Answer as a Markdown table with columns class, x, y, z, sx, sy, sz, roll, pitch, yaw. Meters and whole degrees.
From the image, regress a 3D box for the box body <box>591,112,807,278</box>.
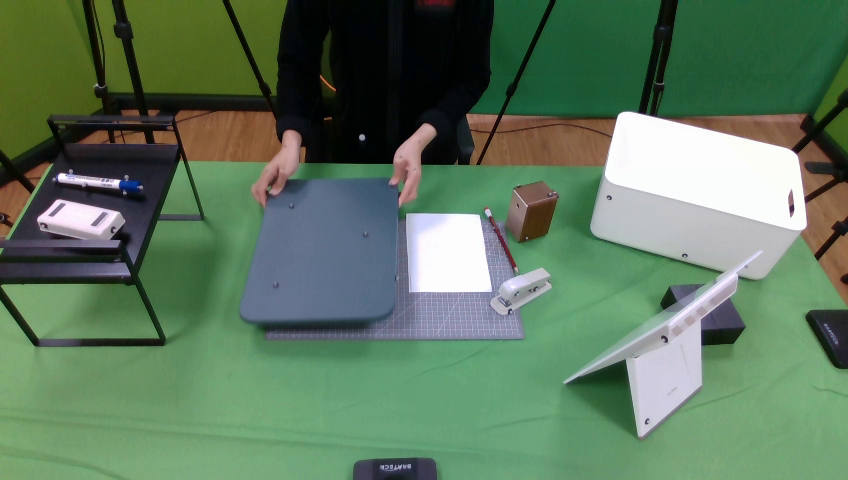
| class | x | y | z | sx | sy | sz | roll | pitch | yaw |
| --- | --- | --- | --- | --- | --- | --- | --- | --- | --- |
| box body | 0.540 | -0.092 | 1.230 | 0.363 | 0.161 | 0.253 | 16 | 47 | 11 |

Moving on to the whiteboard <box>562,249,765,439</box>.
| class | x | y | z | sx | sy | sz | roll | pitch | yaw |
| --- | --- | --- | --- | --- | --- | --- | --- | --- | --- |
| whiteboard | 0.386 | 0.176 | 0.905 | 0.217 | 0.306 | 0.143 | -26 | 72 | -26 |

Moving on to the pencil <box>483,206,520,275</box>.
| class | x | y | z | sx | sy | sz | roll | pitch | yaw |
| --- | --- | --- | --- | --- | --- | --- | --- | --- | --- |
| pencil | 0.156 | -0.002 | 1.218 | 0.012 | 0.012 | 0.192 | -10 | 48 | -13 |

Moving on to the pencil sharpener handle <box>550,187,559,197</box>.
| class | x | y | z | sx | sy | sz | roll | pitch | yaw |
| --- | --- | --- | --- | --- | --- | --- | --- | --- | --- |
| pencil sharpener handle | 0.261 | -0.084 | 1.221 | 0.031 | 0.068 | 0.036 | -16 | 66 | -19 |

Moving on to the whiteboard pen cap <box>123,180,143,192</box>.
| class | x | y | z | sx | sy | sz | roll | pitch | yaw |
| --- | --- | --- | --- | --- | --- | --- | --- | --- | --- |
| whiteboard pen cap | -0.479 | -0.089 | 0.993 | 0.033 | 0.018 | 0.018 | 7 | 46 | 14 |

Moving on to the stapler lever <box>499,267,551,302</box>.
| class | x | y | z | sx | sy | sz | roll | pitch | yaw |
| --- | --- | --- | --- | --- | --- | --- | --- | --- | --- |
| stapler lever | 0.185 | 0.076 | 1.101 | 0.118 | 0.040 | 0.026 | -25 | 56 | -29 |

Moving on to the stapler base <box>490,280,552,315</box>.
| class | x | y | z | sx | sy | sz | roll | pitch | yaw |
| --- | --- | --- | --- | --- | --- | --- | --- | --- | --- |
| stapler base | 0.181 | 0.094 | 1.118 | 0.130 | 0.024 | 0.041 | -24 | 56 | -29 |

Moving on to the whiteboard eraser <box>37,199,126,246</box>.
| class | x | y | z | sx | sy | sz | roll | pitch | yaw |
| --- | --- | --- | --- | --- | --- | --- | --- | --- | --- |
| whiteboard eraser | -0.518 | -0.025 | 0.918 | 0.112 | 0.042 | 0.055 | 12 | 49 | 7 |

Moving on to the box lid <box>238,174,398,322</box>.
| class | x | y | z | sx | sy | sz | roll | pitch | yaw |
| --- | --- | --- | --- | --- | --- | --- | --- | --- | --- |
| box lid | -0.181 | 0.002 | 1.117 | 0.263 | 0.015 | 0.369 | -2 | 45 | 1 |

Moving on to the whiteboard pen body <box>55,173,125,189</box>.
| class | x | y | z | sx | sy | sz | roll | pitch | yaw |
| --- | --- | --- | --- | --- | --- | --- | --- | --- | --- |
| whiteboard pen body | -0.539 | -0.095 | 0.998 | 0.141 | 0.017 | 0.017 | 6 | 46 | 6 |

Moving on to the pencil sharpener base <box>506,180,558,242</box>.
| class | x | y | z | sx | sy | sz | roll | pitch | yaw |
| --- | --- | --- | --- | --- | --- | --- | --- | --- | --- |
| pencil sharpener base | 0.216 | -0.058 | 1.211 | 0.077 | 0.107 | 0.061 | -16 | 49 | -19 |
